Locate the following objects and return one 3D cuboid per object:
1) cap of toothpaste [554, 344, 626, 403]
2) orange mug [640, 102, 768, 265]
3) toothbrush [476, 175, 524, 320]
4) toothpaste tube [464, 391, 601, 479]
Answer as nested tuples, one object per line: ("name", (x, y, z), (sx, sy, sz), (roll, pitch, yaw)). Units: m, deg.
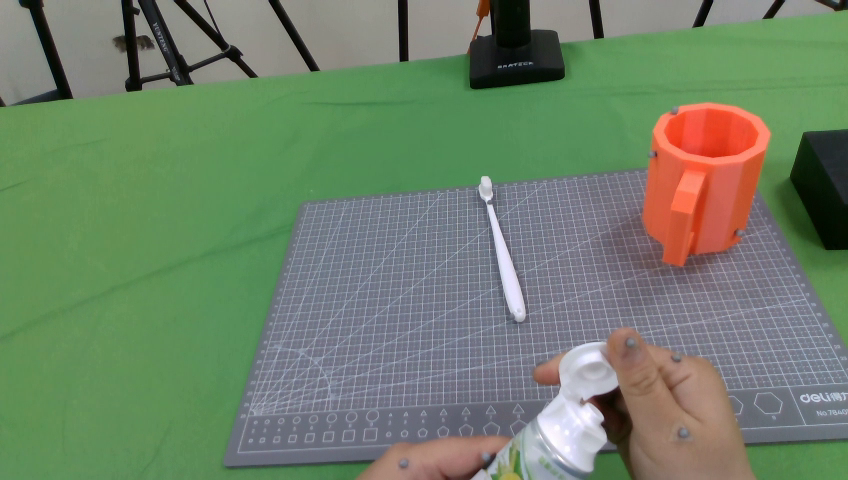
("cap of toothpaste", (0.083, 0.067, 0.301), (0.037, 0.038, 0.011), (-7, 36, 4))
("orange mug", (0.223, -0.042, 0.501), (0.083, 0.102, 0.126), (16, 45, 27))
("toothbrush", (0.068, 0.000, 0.550), (0.014, 0.017, 0.180), (1, 43, -9))
("toothpaste tube", (0.029, 0.140, 0.309), (0.165, 0.035, 0.054), (-51, 46, 12))
